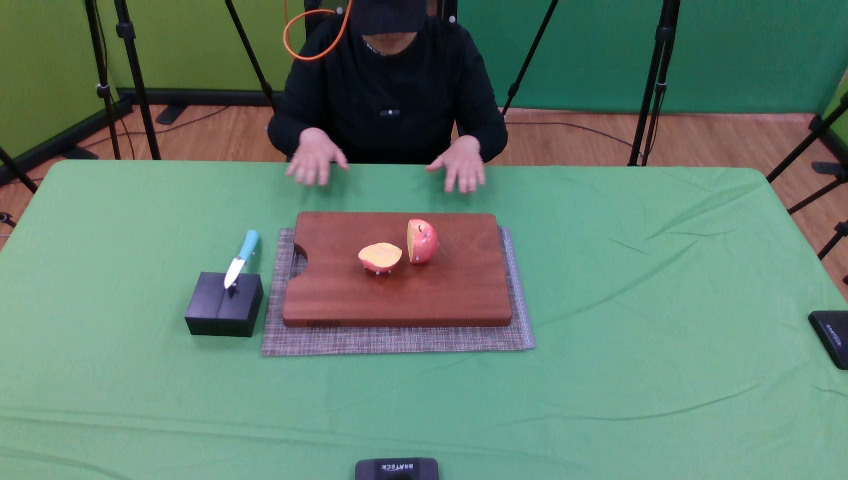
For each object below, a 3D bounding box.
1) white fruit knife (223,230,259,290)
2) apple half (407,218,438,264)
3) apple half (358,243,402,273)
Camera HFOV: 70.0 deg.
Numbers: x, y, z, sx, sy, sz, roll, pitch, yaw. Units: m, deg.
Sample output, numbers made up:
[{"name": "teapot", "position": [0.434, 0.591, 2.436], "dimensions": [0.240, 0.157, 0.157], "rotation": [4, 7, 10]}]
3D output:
[{"name": "white fruit knife", "position": [-0.333, 0.034, 1.106], "dimensions": [0.027, 0.016, 0.206], "rotation": [2, 29, -2]}, {"name": "apple half", "position": [-0.001, 0.003, 1.120], "dimensions": [0.053, 0.075, 0.080], "rotation": [-1, 42, -10]}, {"name": "apple half", "position": [-0.078, 0.038, 1.109], "dimensions": [0.081, 0.033, 0.081], "rotation": [1, 30, 0]}]
